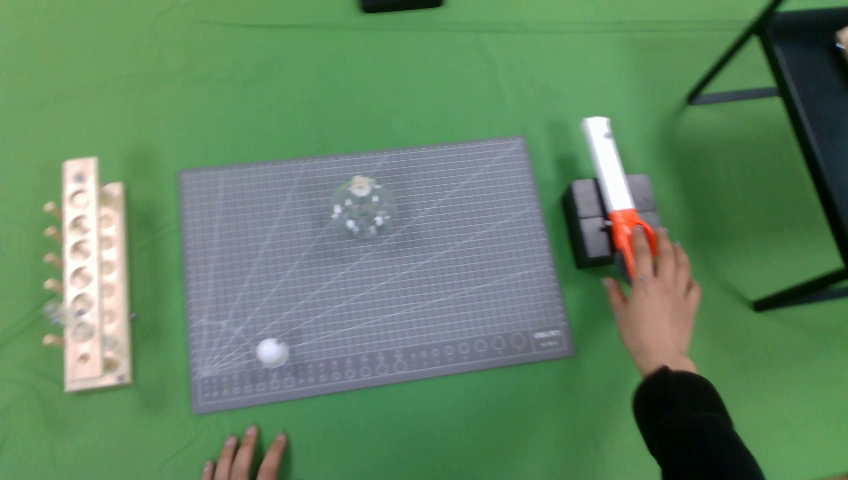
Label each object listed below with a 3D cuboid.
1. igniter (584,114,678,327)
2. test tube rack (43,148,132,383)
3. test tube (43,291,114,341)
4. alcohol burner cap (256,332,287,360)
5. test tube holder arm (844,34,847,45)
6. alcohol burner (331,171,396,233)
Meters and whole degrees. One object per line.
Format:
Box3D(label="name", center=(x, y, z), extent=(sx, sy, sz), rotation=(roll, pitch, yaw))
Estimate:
Box3D(label="igniter", center=(0.247, -0.028, 0.732), extent=(0.057, 0.025, 0.274), rotation=(-8, 72, -12))
Box3D(label="test tube rack", center=(-0.375, 0.029, 0.669), extent=(0.067, 0.085, 0.241), rotation=(-7, 75, -8))
Box3D(label="test tube", center=(-0.341, 0.079, 0.607), extent=(0.017, 0.151, 0.017), rotation=(3, 68, -7))
Box3D(label="alcohol burner cap", center=(-0.174, 0.118, 0.684), extent=(0.034, 0.048, 0.033), rotation=(2, 74, -6))
Box3D(label="test tube holder arm", center=(0.493, -0.192, 0.673), extent=(0.010, 0.015, 0.087), rotation=(-26, 76, 28))
Box3D(label="alcohol burner", center=(-0.071, -0.051, 0.707), extent=(0.078, 0.119, 0.077), rotation=(1, 74, -4))
